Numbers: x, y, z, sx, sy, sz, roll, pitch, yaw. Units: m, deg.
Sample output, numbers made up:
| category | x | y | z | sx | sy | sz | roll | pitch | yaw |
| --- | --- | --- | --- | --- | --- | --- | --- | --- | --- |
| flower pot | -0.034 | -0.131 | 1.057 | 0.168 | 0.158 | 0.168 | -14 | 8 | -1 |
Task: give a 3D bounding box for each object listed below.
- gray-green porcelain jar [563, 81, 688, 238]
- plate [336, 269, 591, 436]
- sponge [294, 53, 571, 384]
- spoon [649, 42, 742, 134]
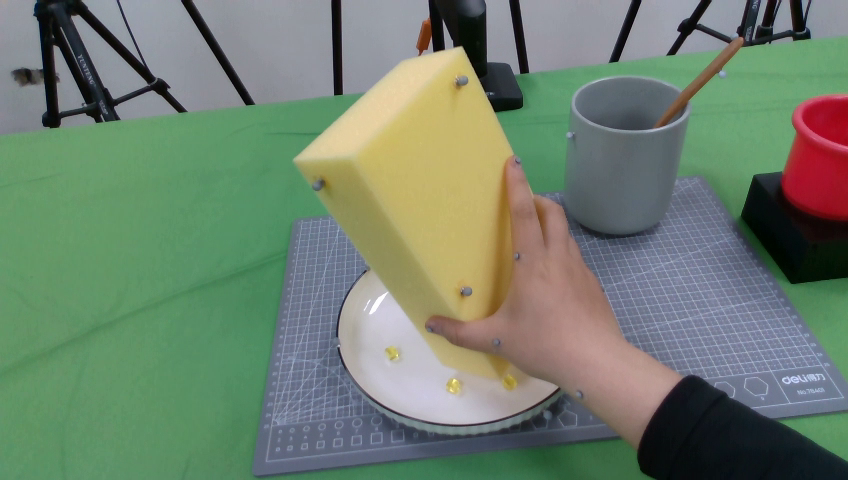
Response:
| category | x | y | z | sx | sy | sz | roll | pitch | yaw |
| --- | --- | --- | --- | --- | --- | --- | --- | --- | --- |
| gray-green porcelain jar | 0.191 | -0.073 | 0.590 | 0.106 | 0.128 | 0.105 | -4 | 41 | 4 |
| plate | 0.032 | 0.075 | 0.508 | 0.207 | 0.039 | 0.205 | -4 | 41 | 3 |
| sponge | 0.019 | -0.009 | 0.432 | 0.060 | 0.209 | 0.118 | 4 | 47 | 46 |
| spoon | 0.217 | -0.098 | 0.558 | 0.022 | 0.194 | 0.041 | 25 | 38 | -6 |
